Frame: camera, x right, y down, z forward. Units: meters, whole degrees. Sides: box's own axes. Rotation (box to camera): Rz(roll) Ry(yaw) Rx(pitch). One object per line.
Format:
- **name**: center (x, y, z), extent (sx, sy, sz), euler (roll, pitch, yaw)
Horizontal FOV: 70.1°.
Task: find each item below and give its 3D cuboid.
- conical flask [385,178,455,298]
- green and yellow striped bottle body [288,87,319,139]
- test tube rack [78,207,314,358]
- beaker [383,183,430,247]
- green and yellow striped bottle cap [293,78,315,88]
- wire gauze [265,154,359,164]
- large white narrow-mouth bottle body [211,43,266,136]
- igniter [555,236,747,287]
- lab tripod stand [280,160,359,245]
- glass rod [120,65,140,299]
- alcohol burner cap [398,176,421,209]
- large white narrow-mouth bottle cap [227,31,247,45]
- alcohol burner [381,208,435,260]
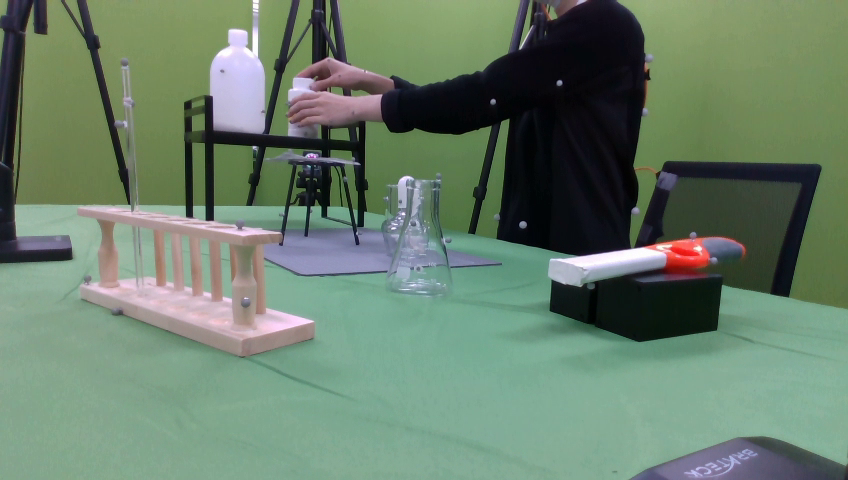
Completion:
- **conical flask**: center (-0.002, -0.004, 0.639), extent (0.075, 0.122, 0.075), euler (2, 7, 0)
- **green and yellow striped bottle body**: center (-0.251, -0.272, 1.260), extent (0.063, 0.119, 0.063), euler (3, 7, 0)
- **test tube rack**: center (-0.196, 0.023, 0.499), extent (0.241, 0.085, 0.067), euler (8, 8, 37)
- **beaker**: center (-0.027, -0.041, 0.996), extent (0.074, 0.100, 0.083), euler (-5, 11, -43)
- **green and yellow striped bottle cap**: center (-0.249, -0.323, 1.255), extent (0.045, 0.020, 0.045), euler (3, 6, 0)
- **wire gauze**: center (-0.181, -0.129, 0.969), extent (0.126, 0.011, 0.121), euler (-1, 7, -27)
- **large white narrow-mouth bottle body**: center (-0.361, -0.302, 1.176), extent (0.102, 0.194, 0.102), euler (1, 7, 0)
- **igniter**: center (0.221, 0.017, 0.558), extent (0.278, 0.025, 0.057), euler (-5, 15, -39)
- **lab tripod stand**: center (-0.176, -0.062, 0.973), extent (0.148, 0.131, 0.148), euler (1, 7, 0)
- **glass rod**: center (-0.249, -0.047, 0.513), extent (0.008, 0.199, 0.008), euler (-1, 4, 0)
- **alcohol burner cap**: center (-0.023, -0.068, 0.866), extent (0.034, 0.048, 0.034), euler (-5, 8, 1)
- **large white narrow-mouth bottle cap**: center (-0.361, -0.388, 1.165), extent (0.038, 0.024, 0.037), euler (1, 7, 0)
- **alcohol burner**: center (-0.023, -0.032, 0.871), extent (0.078, 0.119, 0.078), euler (0, 6, 0)
